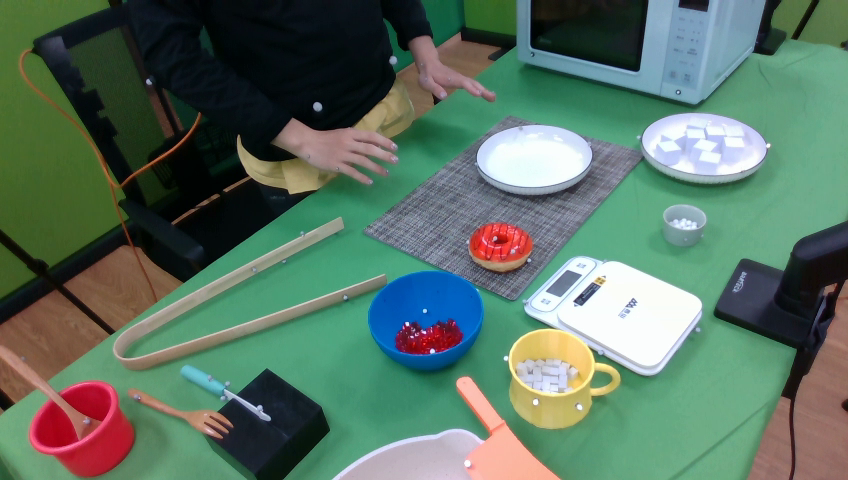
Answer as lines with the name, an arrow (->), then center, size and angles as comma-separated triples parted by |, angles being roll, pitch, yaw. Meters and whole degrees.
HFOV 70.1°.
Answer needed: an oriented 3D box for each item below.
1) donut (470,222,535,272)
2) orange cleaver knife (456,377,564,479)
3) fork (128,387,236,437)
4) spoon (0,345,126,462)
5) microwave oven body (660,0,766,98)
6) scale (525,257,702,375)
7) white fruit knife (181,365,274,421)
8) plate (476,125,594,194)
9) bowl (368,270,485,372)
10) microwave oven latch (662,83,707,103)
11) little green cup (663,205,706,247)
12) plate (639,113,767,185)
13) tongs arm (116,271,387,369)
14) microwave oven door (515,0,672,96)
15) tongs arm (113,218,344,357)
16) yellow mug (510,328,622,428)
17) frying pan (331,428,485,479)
donut -> 0.119, 0.009, 0.923 | 0.099, 0.048, 0.098 | -4, 38, 3
orange cleaver knife -> 0.081, 0.220, 0.611 | 0.077, 0.012, 0.209 | -26, 43, -22
fork -> -0.305, 0.207, 0.744 | 0.206, 0.019, 0.028 | 3, 41, 36
spoon -> -0.434, 0.192, 0.720 | 0.194, 0.021, 0.042 | 47, 53, -7
microwave oven body -> 0.472, -0.513, 1.317 | 0.438, 0.261, 0.327 | 26, 51, 34
scale -> 0.254, 0.091, 0.821 | 0.199, 0.032, 0.149 | 28, 51, 35
white fruit knife -> -0.246, 0.187, 0.747 | 0.205, 0.027, 0.016 | 9, 41, 40
plate -> 0.199, -0.141, 1.093 | 0.209, 0.038, 0.208 | -4, 40, 4
bowl -> 0.007, 0.118, 0.791 | 0.151, 0.077, 0.150 | -4, 40, 4
microwave oven latch -> 0.517, -0.296, 1.204 | 0.078, 0.029, 0.030 | 27, 52, 35
little green cup -> 0.396, -0.020, 0.926 | 0.061, 0.039, 0.061 | -4, 40, 4
plate -> 0.489, -0.157, 1.074 | 0.207, 0.039, 0.206 | -4, 40, 4
tongs arm -> -0.237, 0.112, 0.868 | 0.389, 0.028, 0.028 | -18, 47, -12
microwave oven door -> 0.343, -0.454, 1.259 | 0.353, 0.245, 0.039 | 26, 51, 33
tongs arm -> -0.280, 0.067, 0.926 | 0.386, 0.026, 0.050 | -28, 47, -23
yellow mug -> 0.169, 0.164, 0.722 | 0.130, 0.064, 0.099 | 0, 40, 8
frying pan -> -0.089, 0.306, 0.564 | 0.487, 0.103, 0.306 | 10, 41, 7
